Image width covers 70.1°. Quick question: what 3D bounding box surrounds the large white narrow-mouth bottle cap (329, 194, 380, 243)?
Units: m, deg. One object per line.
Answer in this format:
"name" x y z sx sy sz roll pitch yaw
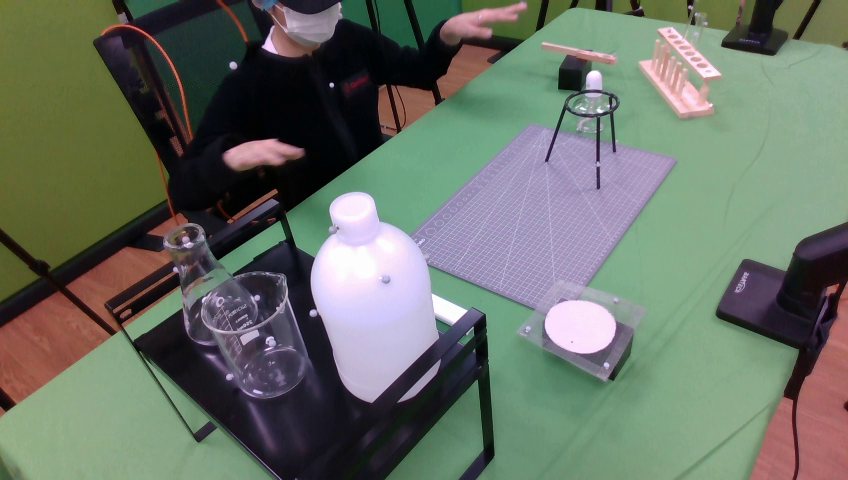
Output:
"large white narrow-mouth bottle cap" -0.053 -0.017 0.467 0.038 0.024 0.037 -5 40 4

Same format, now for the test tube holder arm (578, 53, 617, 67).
"test tube holder arm" 0.376 -0.393 1.314 0.087 0.015 0.010 26 51 32

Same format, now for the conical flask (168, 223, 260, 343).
"conical flask" -0.219 0.040 0.614 0.075 0.122 0.075 -5 40 4

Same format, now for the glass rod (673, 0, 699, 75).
"glass rod" 0.541 -0.427 1.246 0.008 0.200 0.008 0 48 1

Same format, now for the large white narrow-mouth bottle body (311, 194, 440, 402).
"large white narrow-mouth bottle body" -0.043 0.046 0.522 0.102 0.195 0.101 -5 40 5

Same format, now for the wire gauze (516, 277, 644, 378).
"wire gauze" 0.197 0.103 0.765 0.124 0.011 0.122 23 50 32

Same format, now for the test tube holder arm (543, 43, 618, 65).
"test tube holder arm" 0.345 -0.413 1.341 0.177 0.015 0.013 25 50 31

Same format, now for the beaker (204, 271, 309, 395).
"beaker" -0.149 0.088 0.565 0.073 0.101 0.084 21 47 29

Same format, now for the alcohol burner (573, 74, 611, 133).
"alcohol burner" 0.330 -0.270 1.176 0.078 0.119 0.077 -4 43 4

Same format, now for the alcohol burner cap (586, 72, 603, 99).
"alcohol burner cap" 0.325 -0.297 1.154 0.034 0.048 0.033 -8 35 6

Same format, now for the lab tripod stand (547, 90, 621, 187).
"lab tripod stand" 0.289 -0.184 1.062 0.148 0.132 0.147 -6 41 6

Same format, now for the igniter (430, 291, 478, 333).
"igniter" -0.038 0.068 0.905 0.274 0.025 0.057 24 60 32

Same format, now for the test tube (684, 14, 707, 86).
"test tube" 0.541 -0.379 1.216 0.017 0.151 0.017 -2 44 2

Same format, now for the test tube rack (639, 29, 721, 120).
"test tube rack" 0.527 -0.351 1.262 0.067 0.085 0.241 -8 40 1
